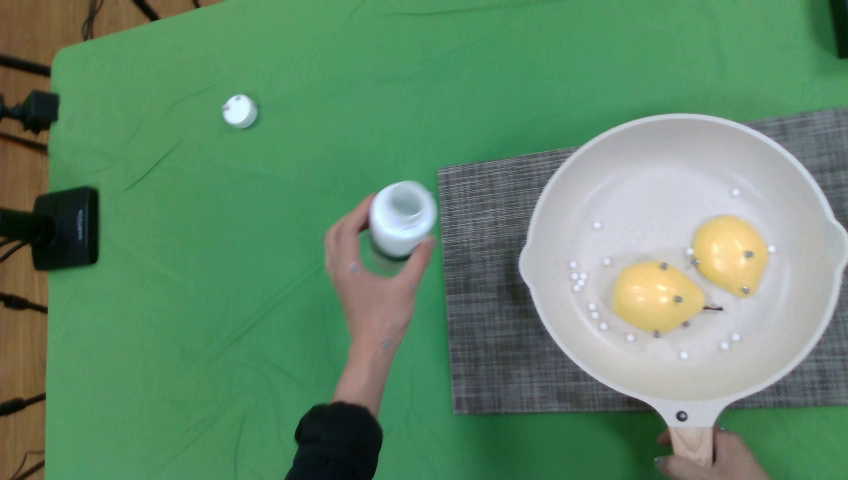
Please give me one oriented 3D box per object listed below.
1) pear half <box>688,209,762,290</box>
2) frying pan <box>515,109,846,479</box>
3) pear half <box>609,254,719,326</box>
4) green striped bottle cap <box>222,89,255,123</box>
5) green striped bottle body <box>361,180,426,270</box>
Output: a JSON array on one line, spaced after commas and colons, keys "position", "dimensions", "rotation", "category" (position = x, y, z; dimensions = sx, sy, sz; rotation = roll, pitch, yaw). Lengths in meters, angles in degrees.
[{"position": [0.316, 0.009, 0.632], "dimensions": [0.070, 0.031, 0.087], "rotation": [-22, 74, 18], "category": "pear half"}, {"position": [0.250, 0.113, 0.603], "dimensions": [0.306, 0.103, 0.485], "rotation": [-4, 73, 18], "category": "frying pan"}, {"position": [0.252, 0.054, 0.635], "dimensions": [0.109, 0.056, 0.076], "rotation": [7, 90, 16], "category": "pear half"}, {"position": [-0.261, -0.188, 0.850], "dimensions": [0.044, 0.020, 0.044], "rotation": [-3, 82, 18], "category": "green striped bottle cap"}, {"position": [-0.033, -0.018, 0.623], "dimensions": [0.063, 0.120, 0.062], "rotation": [3, 67, -6], "category": "green striped bottle body"}]
